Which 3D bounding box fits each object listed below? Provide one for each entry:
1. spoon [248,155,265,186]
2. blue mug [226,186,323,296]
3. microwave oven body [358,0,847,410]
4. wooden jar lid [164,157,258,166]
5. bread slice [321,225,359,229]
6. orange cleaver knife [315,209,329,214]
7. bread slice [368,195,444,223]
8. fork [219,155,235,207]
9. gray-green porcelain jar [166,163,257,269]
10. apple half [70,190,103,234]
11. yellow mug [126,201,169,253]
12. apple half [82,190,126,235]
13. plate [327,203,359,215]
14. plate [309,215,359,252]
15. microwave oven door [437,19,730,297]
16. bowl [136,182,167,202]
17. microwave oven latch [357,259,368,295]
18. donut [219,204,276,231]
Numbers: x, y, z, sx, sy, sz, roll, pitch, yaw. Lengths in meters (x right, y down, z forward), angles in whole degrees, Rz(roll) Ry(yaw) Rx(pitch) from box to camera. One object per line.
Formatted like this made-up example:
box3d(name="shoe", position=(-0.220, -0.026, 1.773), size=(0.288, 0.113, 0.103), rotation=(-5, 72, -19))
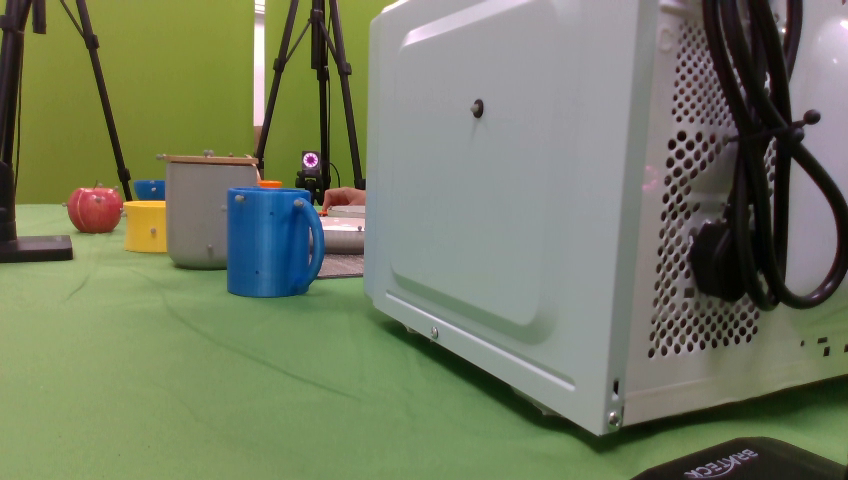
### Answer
box3d(name="spoon", position=(-0.417, -0.150, 1.543), size=(0.042, 0.193, 0.021), rotation=(-6, -34, -32))
box3d(name="blue mug", position=(-0.148, 0.000, 0.618), size=(0.116, 0.106, 0.083), rotation=(7, 9, 33))
box3d(name="microwave oven body", position=(0.210, -0.051, 0.471), size=(0.444, 0.260, 0.324), rotation=(-1, 7, -28))
box3d(name="wooden jar lid", position=(-0.261, -0.093, 0.746), size=(0.108, 0.020, 0.108), rotation=(1, 9, 0))
box3d(name="bread slice", position=(-0.124, -0.008, 0.938), size=(0.131, 0.019, 0.105), rotation=(5, 8, 32))
box3d(name="orange cleaver knife", position=(-0.260, -0.065, 1.422), size=(0.212, 0.012, 0.077), rotation=(-5, -1, -30))
box3d(name="bread slice", position=(-0.040, -0.057, 1.142), size=(0.107, 0.018, 0.133), rotation=(-9, -8, -40))
box3d(name="fork", position=(-0.459, -0.134, 1.415), size=(0.028, 0.018, 0.207), rotation=(-1, -34, -24))
box3d(name="gray-green porcelain jar", position=(-0.263, -0.031, 0.754), size=(0.106, 0.126, 0.106), rotation=(2, 7, 0))
box3d(name="apple half", position=(-0.552, -0.048, 1.010), size=(0.053, 0.074, 0.081), rotation=(0, 10, 26))
box3d(name="yellow mug", position=(-0.361, -0.019, 0.866), size=(0.130, 0.064, 0.100), rotation=(7, 9, 27))
box3d(name="apple half", position=(-0.516, -0.046, 0.994), size=(0.032, 0.081, 0.081), rotation=(1, 6, 26))
box3d(name="plate", position=(-0.102, -0.053, 1.299), size=(0.209, 0.038, 0.209), rotation=(2, 8, 0))
box3d(name="plate", position=(-0.130, -0.011, 0.945), size=(0.208, 0.039, 0.207), rotation=(2, 8, 0))
box3d(name="microwave oven door", position=(0.181, -0.076, 0.618), size=(0.358, 0.243, 0.039), rotation=(-2, 9, -28))
box3d(name="bowl", position=(-0.497, -0.076, 1.221), size=(0.151, 0.077, 0.151), rotation=(2, 8, 0))
box3d(name="microwave oven latch", position=(-0.019, 0.031, 0.529), size=(0.079, 0.029, 0.030), rotation=(-1, 7, -26))
box3d(name="donut", position=(-0.316, -0.039, 1.083), size=(0.099, 0.048, 0.099), rotation=(2, 7, 0))
